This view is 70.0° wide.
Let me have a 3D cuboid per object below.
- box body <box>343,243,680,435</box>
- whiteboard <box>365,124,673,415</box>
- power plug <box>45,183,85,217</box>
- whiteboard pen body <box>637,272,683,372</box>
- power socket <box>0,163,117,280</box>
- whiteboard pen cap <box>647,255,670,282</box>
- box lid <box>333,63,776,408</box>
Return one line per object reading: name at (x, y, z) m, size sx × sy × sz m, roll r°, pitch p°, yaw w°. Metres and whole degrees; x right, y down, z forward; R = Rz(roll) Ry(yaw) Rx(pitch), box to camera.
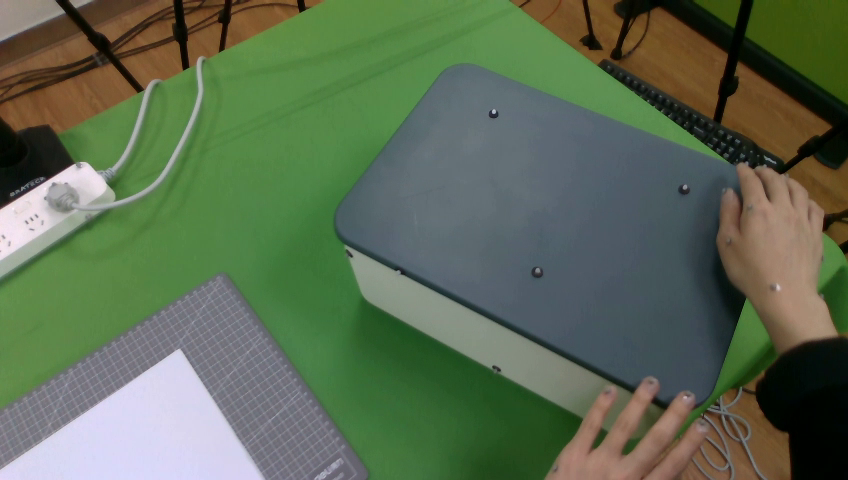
box body at (0.126, 0.009, 0.645) m, size 0.362 × 0.162 × 0.253 m, roll 26°, pitch 62°, yaw 15°
whiteboard at (0.117, 0.008, 0.660) m, size 0.304 × 0.145 × 0.216 m, roll 24°, pitch 59°, yaw 15°
power plug at (-0.428, -0.038, 0.727) m, size 0.035 × 0.053 × 0.072 m, roll -30°, pitch 69°, yaw -17°
whiteboard pen body at (0.268, 0.088, 0.680) m, size 0.017 × 0.017 × 0.140 m, roll 26°, pitch 59°, yaw 16°
power socket at (-0.485, -0.014, 0.739) m, size 0.226 × 0.033 × 0.071 m, roll -40°, pitch 67°, yaw -22°
whiteboard pen cap at (0.272, 0.034, 0.704) m, size 0.018 × 0.018 × 0.033 m, roll 28°, pitch 63°, yaw 17°
box lid at (0.123, -0.031, 0.582) m, size 0.370 × 0.015 × 0.262 m, roll 26°, pitch 63°, yaw 15°
